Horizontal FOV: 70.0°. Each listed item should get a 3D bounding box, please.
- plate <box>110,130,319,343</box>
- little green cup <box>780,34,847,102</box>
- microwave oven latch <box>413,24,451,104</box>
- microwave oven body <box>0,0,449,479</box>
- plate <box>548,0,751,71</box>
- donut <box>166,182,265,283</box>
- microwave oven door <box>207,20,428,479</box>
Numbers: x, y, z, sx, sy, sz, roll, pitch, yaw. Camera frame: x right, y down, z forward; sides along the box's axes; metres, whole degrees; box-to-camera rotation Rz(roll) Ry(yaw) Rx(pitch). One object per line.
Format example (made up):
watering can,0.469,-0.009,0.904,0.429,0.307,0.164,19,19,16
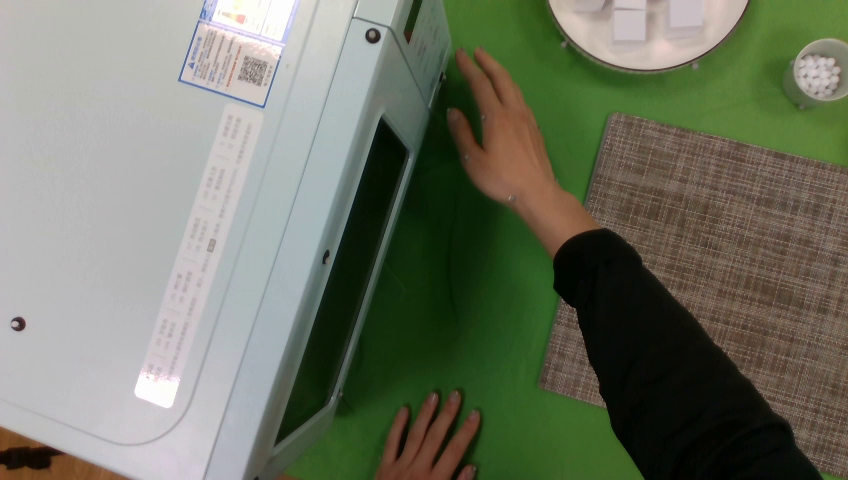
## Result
plate,-0.204,-0.003,0.602,0.209,0.038,0.209,0,90,6
little green cup,0.388,-0.167,0.600,0.061,0.039,0.061,0,89,7
microwave oven latch,0.004,-0.184,0.625,0.030,0.029,0.079,20,92,6
microwave oven body,-0.202,-0.064,0.550,0.325,0.260,0.441,18,92,6
plate,0.227,-0.273,0.620,0.207,0.039,0.207,0,89,7
donut,-0.202,-0.007,0.587,0.099,0.048,0.099,0,91,8
microwave oven door,-0.079,0.021,0.529,0.039,0.244,0.355,18,91,7
